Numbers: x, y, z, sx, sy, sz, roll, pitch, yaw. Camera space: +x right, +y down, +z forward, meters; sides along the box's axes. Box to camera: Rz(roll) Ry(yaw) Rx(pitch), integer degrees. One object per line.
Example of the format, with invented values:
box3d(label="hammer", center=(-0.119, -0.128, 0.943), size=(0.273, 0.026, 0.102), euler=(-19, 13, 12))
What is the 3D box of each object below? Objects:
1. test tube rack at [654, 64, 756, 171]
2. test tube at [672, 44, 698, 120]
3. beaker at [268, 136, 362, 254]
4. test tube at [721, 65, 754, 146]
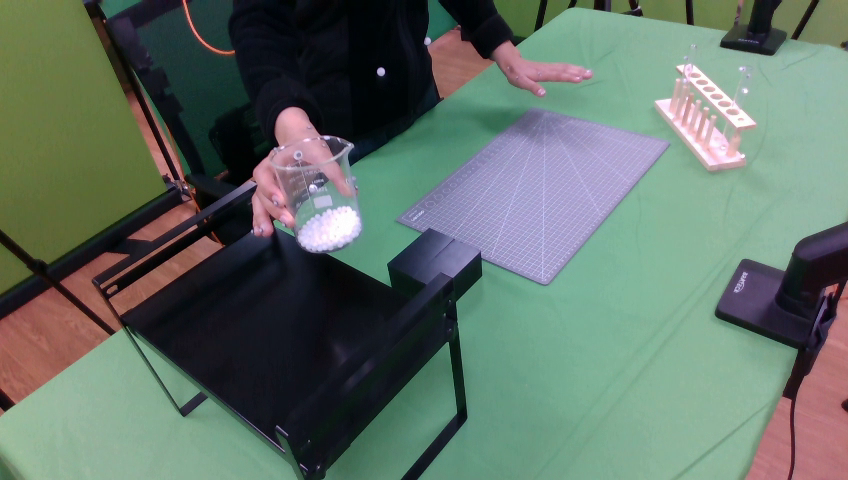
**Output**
box3d(label="test tube rack", center=(0.510, -0.233, 1.120), size=(0.067, 0.085, 0.241), euler=(-8, 41, -1))
box3d(label="test tube", center=(0.484, -0.291, 1.122), size=(0.017, 0.151, 0.017), euler=(-2, 41, 2))
box3d(label="beaker", center=(-0.102, -0.045, 0.603), size=(0.084, 0.100, 0.073), euler=(-20, 34, -17))
box3d(label="test tube", center=(0.533, -0.226, 1.032), size=(0.017, 0.151, 0.017), euler=(-2, 40, 2))
